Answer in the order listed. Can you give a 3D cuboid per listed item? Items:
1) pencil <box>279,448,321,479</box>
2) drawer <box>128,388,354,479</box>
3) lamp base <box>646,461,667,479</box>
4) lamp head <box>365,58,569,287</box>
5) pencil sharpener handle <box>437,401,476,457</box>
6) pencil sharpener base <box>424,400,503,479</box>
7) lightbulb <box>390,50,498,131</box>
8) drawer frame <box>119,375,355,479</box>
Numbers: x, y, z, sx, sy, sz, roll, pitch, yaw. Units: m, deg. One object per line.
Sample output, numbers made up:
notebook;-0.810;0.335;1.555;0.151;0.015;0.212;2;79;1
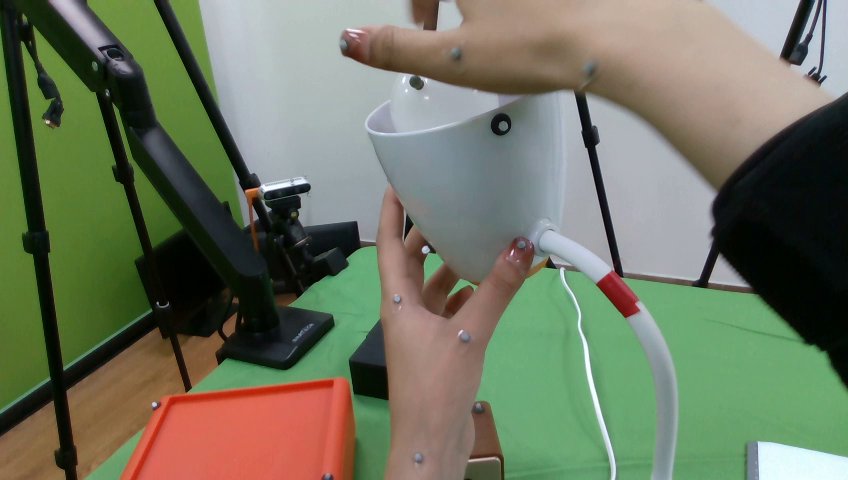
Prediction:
pencil;-0.165;0.247;0.524;0.194;0.012;0.012;-37;38;-30
drawer;-0.168;0.231;0.551;0.194;0.074;0.210;-6;24;-1
lamp base;0.148;0.238;0.357;0.161;0.181;0.178;-8;21;-5
lamp head;0.038;-0.033;0.357;0.112;0.124;0.111;-18;21;8
pencil sharpener handle;0.029;0.173;0.578;0.036;0.068;0.030;-1;25;-4
pencil sharpener base;0.035;0.205;0.537;0.061;0.108;0.076;-6;25;-1
lightbulb;0.021;-0.055;0.347;0.059;0.108;0.059;-21;28;12
drawer frame;-0.170;0.228;0.553;0.202;0.083;0.212;-6;24;-2
